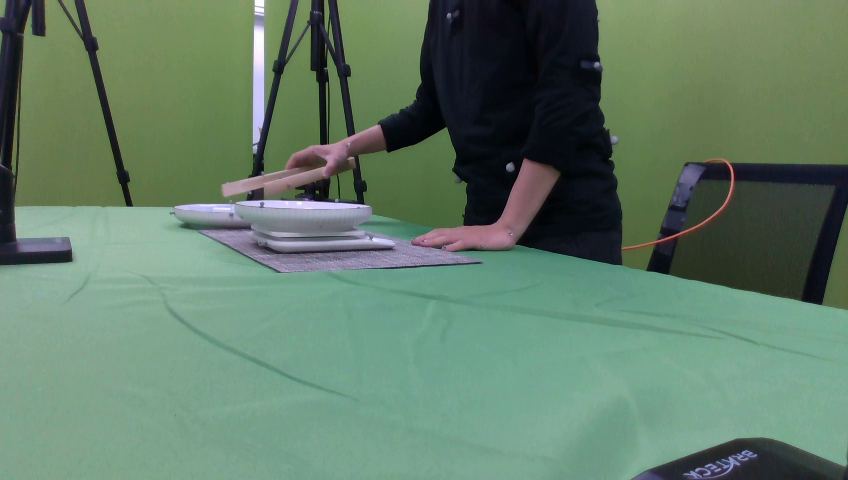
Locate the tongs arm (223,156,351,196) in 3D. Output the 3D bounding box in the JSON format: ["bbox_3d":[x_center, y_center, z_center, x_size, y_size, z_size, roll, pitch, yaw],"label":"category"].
[{"bbox_3d":[-0.288,-0.148,1.350,0.050,0.026,0.386,-1,14,28],"label":"tongs arm"}]

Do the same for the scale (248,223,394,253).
[{"bbox_3d":[-0.162,-0.006,0.954,0.202,0.031,0.148,-2,8,-32],"label":"scale"}]

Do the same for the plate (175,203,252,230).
[{"bbox_3d":[-0.380,-0.047,1.199,0.208,0.039,0.207,3,7,0],"label":"plate"}]

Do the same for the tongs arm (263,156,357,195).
[{"bbox_3d":[-0.236,-0.147,1.324,0.028,0.028,0.388,-6,13,23],"label":"tongs arm"}]

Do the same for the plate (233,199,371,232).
[{"bbox_3d":[-0.188,-0.039,0.939,0.209,0.038,0.209,3,7,0],"label":"plate"}]
